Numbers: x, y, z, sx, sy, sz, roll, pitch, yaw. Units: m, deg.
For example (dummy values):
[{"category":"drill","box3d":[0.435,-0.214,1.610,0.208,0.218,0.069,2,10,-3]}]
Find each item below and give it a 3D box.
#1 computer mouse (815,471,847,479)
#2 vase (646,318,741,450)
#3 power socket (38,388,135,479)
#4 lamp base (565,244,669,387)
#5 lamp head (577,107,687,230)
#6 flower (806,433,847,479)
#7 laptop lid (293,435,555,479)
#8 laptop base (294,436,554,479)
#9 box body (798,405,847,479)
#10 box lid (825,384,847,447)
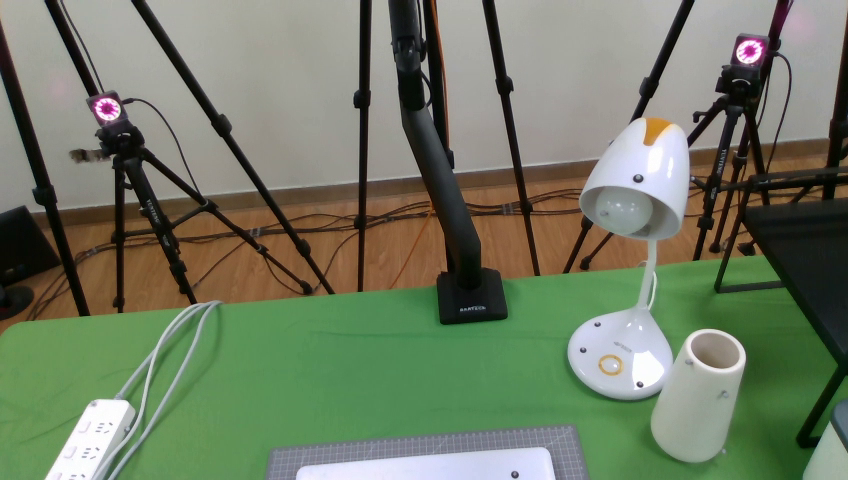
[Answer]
[{"category":"computer mouse","box3d":[0.533,0.333,0.736,0.063,0.041,0.116,-11,34,1]},{"category":"vase","box3d":[0.356,0.191,0.802,0.098,0.202,0.097,-4,41,4]},{"category":"power socket","box3d":[-0.500,0.314,0.885,0.072,0.033,0.224,1,42,6]},{"category":"lamp base","box3d":[0.306,0.101,0.921,0.159,0.182,0.178,20,45,25]},{"category":"lamp head","box3d":[0.245,-0.085,0.686,0.112,0.113,0.122,17,65,23]},{"category":"flower","box3d":[0.533,0.384,0.658,0.038,0.044,0.357,-40,44,29]},{"category":"laptop lid","box3d":[0.000,0.367,0.765,0.357,0.013,0.239,-4,44,2]},{"category":"laptop base","box3d":[0.001,0.374,0.775,0.354,0.023,0.233,-5,45,1]},{"category":"box body","box3d":[0.606,0.344,0.633,0.254,0.162,0.360,-4,42,2]},{"category":"box lid","box3d":[0.599,0.287,0.584,0.263,0.015,0.367,-4,42,2]}]
